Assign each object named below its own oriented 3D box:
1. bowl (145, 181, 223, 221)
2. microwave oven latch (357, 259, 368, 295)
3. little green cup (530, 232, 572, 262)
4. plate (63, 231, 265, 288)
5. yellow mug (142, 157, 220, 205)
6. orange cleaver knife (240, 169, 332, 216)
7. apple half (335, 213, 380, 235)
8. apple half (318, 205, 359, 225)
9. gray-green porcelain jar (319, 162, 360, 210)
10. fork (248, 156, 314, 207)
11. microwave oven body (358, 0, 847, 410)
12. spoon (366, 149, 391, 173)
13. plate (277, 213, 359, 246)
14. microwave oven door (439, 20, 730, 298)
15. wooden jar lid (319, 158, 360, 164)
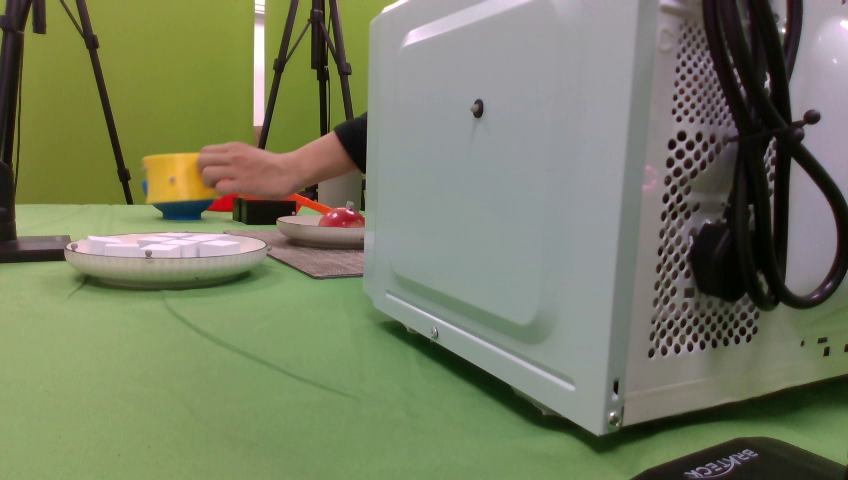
[{"bbox_3d":[-0.499,-0.081,1.261,0.151,0.077,0.151,2,7,0],"label":"bowl"},{"bbox_3d":[-0.019,0.031,0.529,0.079,0.029,0.030,-1,7,-26],"label":"microwave oven latch"},{"bbox_3d":[0.184,0.010,0.880,0.061,0.038,0.061,1,5,0],"label":"little green cup"},{"bbox_3d":[-0.288,0.021,0.687,0.208,0.039,0.207,2,8,0],"label":"plate"},{"bbox_3d":[-0.340,-0.086,0.875,0.130,0.064,0.100,0,7,32],"label":"yellow mug"},{"bbox_3d":[-0.286,-0.082,1.298,0.212,0.077,0.012,25,-2,-31],"label":"orange cleaver knife"},{"bbox_3d":[-0.111,-0.029,1.034,0.081,0.033,0.081,-1,9,1],"label":"apple half"},{"bbox_3d":[-0.126,-0.028,0.955,0.081,0.053,0.074,-3,11,-33],"label":"apple half"},{"bbox_3d":[-0.204,-0.126,1.489,0.106,0.126,0.106,2,7,0],"label":"gray-green porcelain jar"},{"bbox_3d":[-0.360,-0.147,1.523,0.207,0.019,0.028,-43,16,-7],"label":"fork"},{"bbox_3d":[0.210,-0.051,0.471,0.444,0.260,0.324,-1,7,-28],"label":"microwave oven body"},{"bbox_3d":[-0.077,-0.153,1.132,0.041,0.021,0.194,35,19,-5],"label":"spoon"},{"bbox_3d":[-0.135,-0.018,0.993,0.209,0.038,0.209,2,7,0],"label":"plate"},{"bbox_3d":[0.182,-0.076,0.618,0.358,0.243,0.039,-2,8,-28],"label":"microwave oven door"},{"bbox_3d":[-0.203,-0.189,1.482,0.108,0.020,0.108,2,10,0],"label":"wooden jar lid"}]
